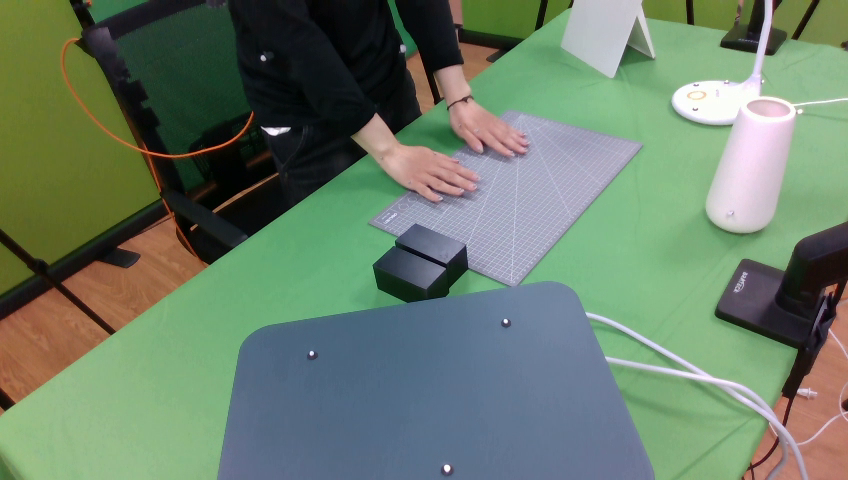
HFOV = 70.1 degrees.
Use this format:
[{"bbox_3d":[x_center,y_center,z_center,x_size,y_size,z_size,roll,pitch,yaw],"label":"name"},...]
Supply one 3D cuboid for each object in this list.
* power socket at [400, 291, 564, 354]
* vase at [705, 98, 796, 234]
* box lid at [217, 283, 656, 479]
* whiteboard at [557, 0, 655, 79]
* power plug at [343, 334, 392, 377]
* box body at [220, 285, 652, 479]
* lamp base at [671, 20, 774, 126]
[{"bbox_3d":[0.079,0.111,0.823,0.227,0.033,0.072,-5,41,1],"label":"power socket"},{"bbox_3d":[0.480,-0.104,0.889,0.098,0.201,0.097,-4,42,4],"label":"vase"},{"bbox_3d":[-0.004,0.155,0.568,0.372,0.015,0.261,-8,39,-2],"label":"box lid"},{"bbox_3d":[0.462,-0.542,1.367,0.145,0.306,0.215,-3,36,-25],"label":"whiteboard"},{"bbox_3d":[-0.075,0.156,0.808,0.073,0.035,0.052,38,31,-12],"label":"power plug"},{"bbox_3d":[0.005,0.211,0.616,0.364,0.161,0.252,-9,40,-2],"label":"box body"},{"bbox_3d":[0.581,-0.332,1.154,0.179,0.181,0.160,2,41,7],"label":"lamp base"}]
